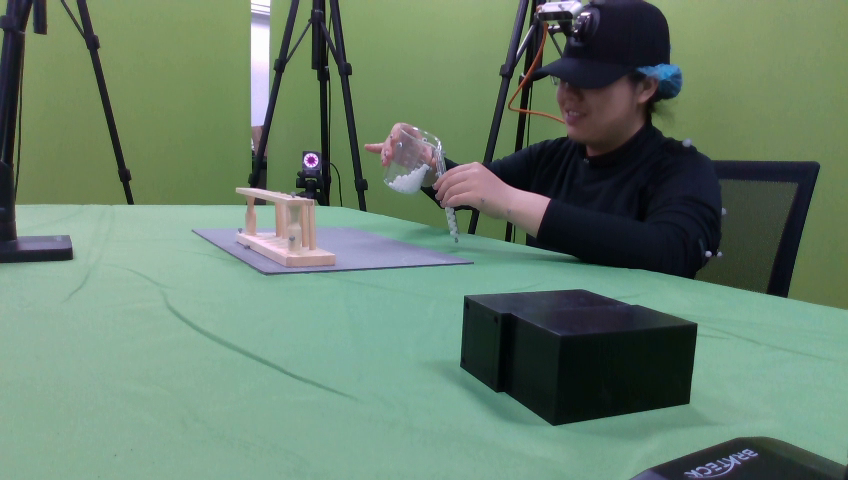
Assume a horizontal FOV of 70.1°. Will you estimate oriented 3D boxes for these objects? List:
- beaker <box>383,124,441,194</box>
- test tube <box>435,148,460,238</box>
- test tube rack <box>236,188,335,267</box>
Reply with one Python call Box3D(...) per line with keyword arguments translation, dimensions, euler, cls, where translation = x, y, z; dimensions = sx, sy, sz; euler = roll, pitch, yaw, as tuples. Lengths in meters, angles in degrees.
Box3D(translation=(-0.021, -0.135, 1.024), dimensions=(0.083, 0.100, 0.074), euler=(32, 25, 19), cls="beaker")
Box3D(translation=(0.039, -0.077, 0.993), dimensions=(0.017, 0.150, 0.017), euler=(-11, -3, 0), cls="test tube")
Box3D(translation=(-0.202, -0.024, 0.855), dimensions=(0.067, 0.085, 0.241), euler=(-2, 8, -31), cls="test tube rack")
